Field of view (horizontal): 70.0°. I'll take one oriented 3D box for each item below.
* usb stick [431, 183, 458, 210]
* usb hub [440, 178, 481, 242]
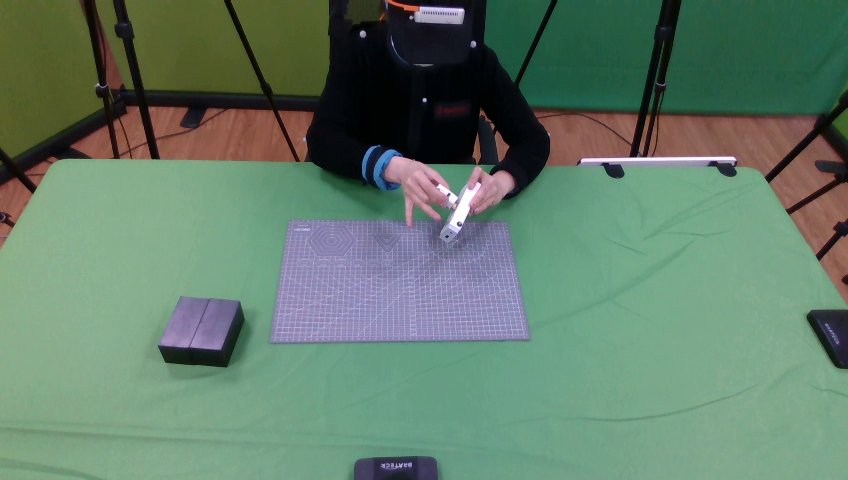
[{"bbox_3d":[0.044,-0.077,1.129,0.059,0.027,0.021,38,52,-3],"label":"usb stick"},{"bbox_3d":[0.069,-0.057,1.148,0.025,0.049,0.124,30,60,-7],"label":"usb hub"}]
